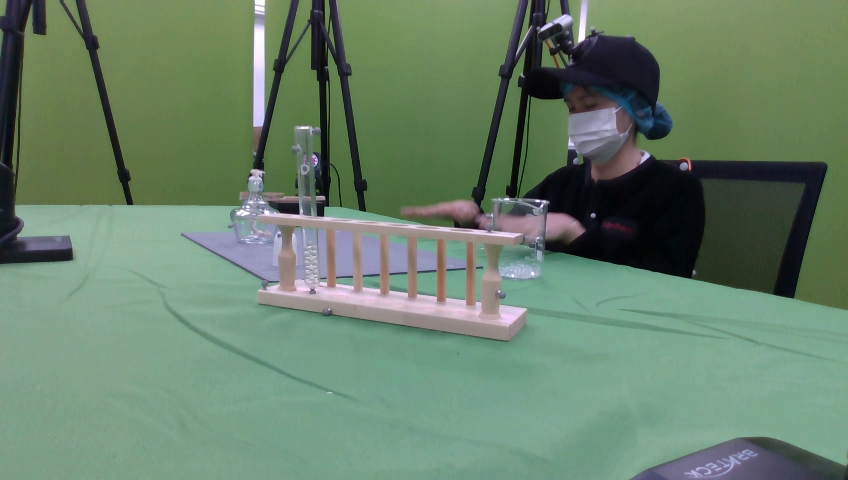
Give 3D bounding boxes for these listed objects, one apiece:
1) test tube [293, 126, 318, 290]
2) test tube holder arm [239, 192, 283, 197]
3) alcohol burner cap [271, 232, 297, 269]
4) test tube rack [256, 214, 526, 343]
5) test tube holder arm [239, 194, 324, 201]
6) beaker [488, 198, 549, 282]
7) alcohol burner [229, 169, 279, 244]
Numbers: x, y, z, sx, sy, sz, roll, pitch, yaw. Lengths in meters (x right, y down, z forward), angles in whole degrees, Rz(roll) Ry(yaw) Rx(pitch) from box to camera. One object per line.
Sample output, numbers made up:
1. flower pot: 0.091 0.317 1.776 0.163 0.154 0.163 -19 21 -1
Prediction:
1. test tube: -0.107 -0.028 0.550 0.017 0.150 0.017 -1 11 0
2. test tube holder arm: -0.325 -0.092 1.213 0.088 0.010 0.015 -2 8 -36
3. alcohol burner cap: -0.175 0.012 0.760 0.034 0.048 0.034 2 7 0
4. test tube rack: -0.032 0.027 0.547 0.241 0.085 0.067 5 8 22
5. test tube holder arm: -0.289 -0.088 1.240 0.179 0.013 0.015 -4 9 -36
6. beaker: 0.120 -0.001 0.768 0.074 0.100 0.083 -1 9 -25
7. alcohol burner: -0.268 -0.053 0.958 0.078 0.119 0.078 2 5 0
